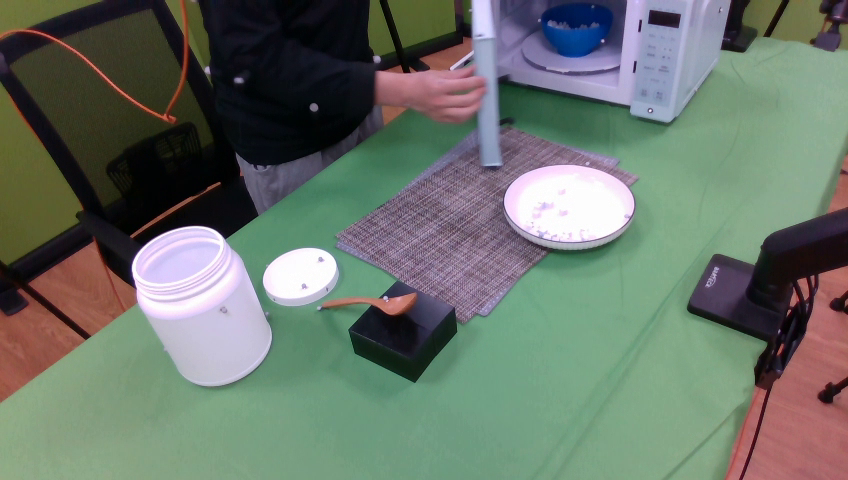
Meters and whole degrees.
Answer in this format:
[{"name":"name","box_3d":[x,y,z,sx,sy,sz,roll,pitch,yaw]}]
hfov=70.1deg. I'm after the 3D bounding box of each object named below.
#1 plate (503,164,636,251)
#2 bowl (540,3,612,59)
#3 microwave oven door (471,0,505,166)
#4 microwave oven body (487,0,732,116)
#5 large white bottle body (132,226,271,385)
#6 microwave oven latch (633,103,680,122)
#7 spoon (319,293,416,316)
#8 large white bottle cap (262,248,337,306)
[{"name":"plate","box_3d":[0.231,-0.050,0.976,0.209,0.038,0.208,-3,41,3]},{"name":"bowl","box_3d":[0.323,-0.441,1.297,0.151,0.077,0.150,-4,42,4]},{"name":"microwave oven door","box_3d":[0.120,-0.340,1.154,0.039,0.245,0.354,-4,40,4]},{"name":"microwave oven body","box_3d":[0.377,-0.462,1.267,0.438,0.261,0.327,21,48,30]},{"name":"large white bottle body","box_3d":[-0.286,0.085,0.783,0.130,0.185,0.130,-4,41,4]},{"name":"microwave oven latch","box_3d":[0.443,-0.249,1.157,0.078,0.029,0.030,21,49,30]},{"name":"spoon","box_3d":[-0.082,0.086,0.826,0.192,0.022,0.041,-3,36,41]},{"name":"large white bottle cap","box_3d":[-0.192,0.056,0.934,0.115,0.018,0.114,-4,41,4]}]
